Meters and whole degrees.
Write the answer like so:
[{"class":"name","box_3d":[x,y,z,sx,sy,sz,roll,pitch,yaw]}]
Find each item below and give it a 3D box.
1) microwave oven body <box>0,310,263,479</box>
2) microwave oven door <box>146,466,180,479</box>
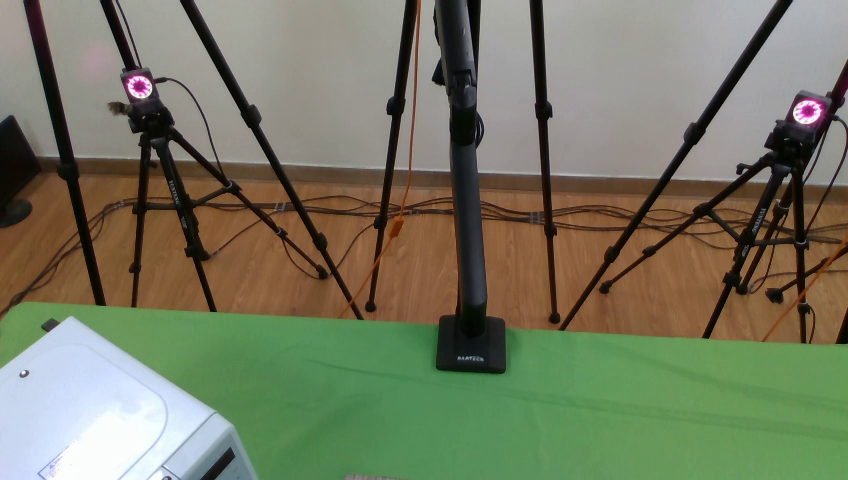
[{"class":"microwave oven body","box_3d":[-0.465,0.356,0.707,0.324,0.262,0.440,24,50,22]},{"class":"microwave oven door","box_3d":[-0.364,0.431,0.623,0.039,0.246,0.354,23,49,23]}]
